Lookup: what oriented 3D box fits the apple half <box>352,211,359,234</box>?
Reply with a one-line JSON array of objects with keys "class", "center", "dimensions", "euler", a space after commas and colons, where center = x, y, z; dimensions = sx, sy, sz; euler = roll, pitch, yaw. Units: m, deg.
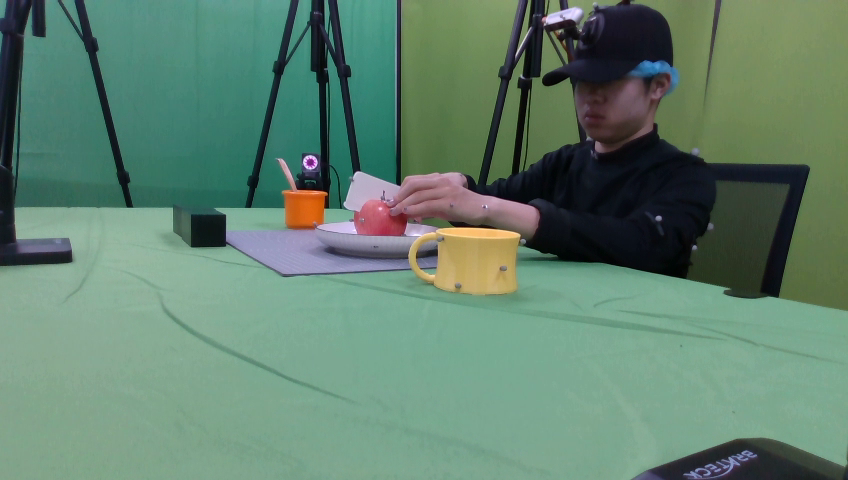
[{"class": "apple half", "center": [-0.090, -0.029, 0.931], "dimensions": [0.032, 0.081, 0.081], "euler": [11, 10, 30]}]

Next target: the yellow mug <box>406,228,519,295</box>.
[{"class": "yellow mug", "center": [0.044, 0.022, 0.706], "dimensions": [0.131, 0.064, 0.100], "euler": [2, 7, 5]}]

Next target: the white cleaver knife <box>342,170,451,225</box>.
[{"class": "white cleaver knife", "center": [-0.038, -0.058, 0.979], "dimensions": [0.021, 0.066, 0.288], "euler": [18, 4, 33]}]

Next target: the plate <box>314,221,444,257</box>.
[{"class": "plate", "center": [-0.067, -0.002, 0.947], "dimensions": [0.209, 0.038, 0.209], "euler": [3, 7, 0]}]

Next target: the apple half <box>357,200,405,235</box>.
[{"class": "apple half", "center": [-0.058, -0.023, 0.912], "dimensions": [0.053, 0.074, 0.081], "euler": [14, 5, 29]}]

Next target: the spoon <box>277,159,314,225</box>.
[{"class": "spoon", "center": [-0.272, -0.103, 1.260], "dimensions": [0.042, 0.193, 0.021], "euler": [-5, -34, -33]}]
